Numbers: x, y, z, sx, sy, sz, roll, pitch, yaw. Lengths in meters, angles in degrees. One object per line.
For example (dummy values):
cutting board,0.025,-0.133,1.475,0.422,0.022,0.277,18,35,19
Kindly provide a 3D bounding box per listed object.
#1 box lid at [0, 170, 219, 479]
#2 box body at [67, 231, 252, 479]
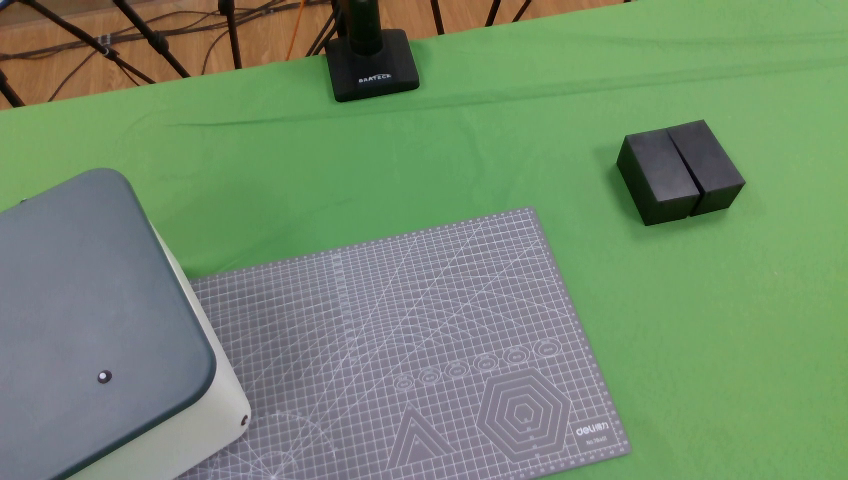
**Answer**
box lid,-0.373,0.104,0.482,0.371,0.015,0.261,-30,63,-15
box body,-0.372,0.144,0.545,0.364,0.162,0.251,-30,62,-15
